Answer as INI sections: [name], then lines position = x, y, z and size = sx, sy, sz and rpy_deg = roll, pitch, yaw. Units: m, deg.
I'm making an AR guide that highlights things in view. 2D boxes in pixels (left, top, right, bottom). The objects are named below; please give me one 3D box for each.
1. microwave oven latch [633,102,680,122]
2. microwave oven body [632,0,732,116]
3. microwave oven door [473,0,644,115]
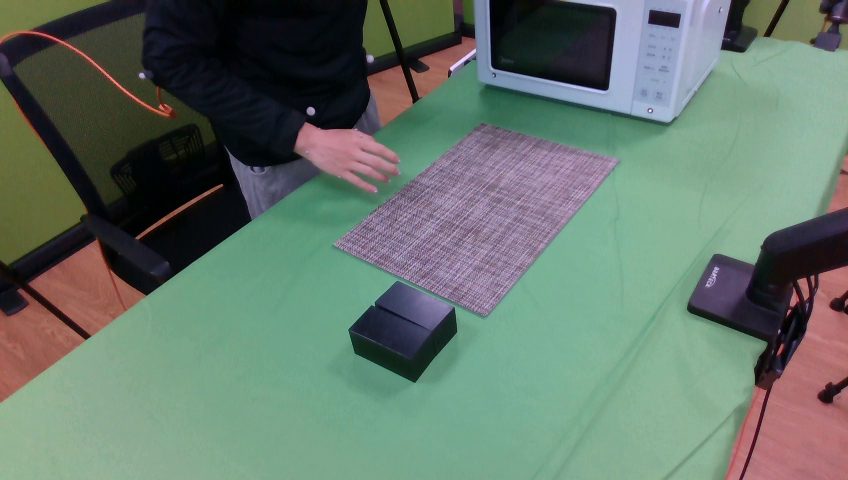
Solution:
[microwave oven latch]
position = 0.443, -0.249, 1.157
size = 0.078, 0.029, 0.030
rpy_deg = 22, 49, 30
[microwave oven body]
position = 0.377, -0.463, 1.267
size = 0.438, 0.261, 0.327
rpy_deg = 21, 49, 30
[microwave oven door]
position = 0.257, -0.396, 1.199
size = 0.353, 0.245, 0.039
rpy_deg = 21, 48, 29
